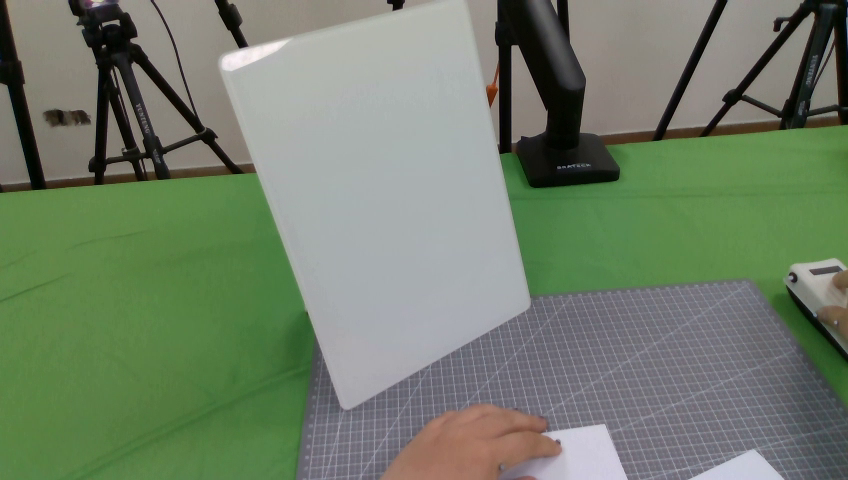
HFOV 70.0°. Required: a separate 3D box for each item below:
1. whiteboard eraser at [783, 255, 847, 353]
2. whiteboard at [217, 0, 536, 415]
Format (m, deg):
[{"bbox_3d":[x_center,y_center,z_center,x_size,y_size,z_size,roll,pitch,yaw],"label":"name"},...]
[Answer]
[{"bbox_3d":[0.391,0.062,0.562,0.055,0.042,0.111,-11,37,-1],"label":"whiteboard eraser"},{"bbox_3d":[-0.049,-0.041,0.568,0.217,0.307,0.142,-24,21,-24],"label":"whiteboard"}]
